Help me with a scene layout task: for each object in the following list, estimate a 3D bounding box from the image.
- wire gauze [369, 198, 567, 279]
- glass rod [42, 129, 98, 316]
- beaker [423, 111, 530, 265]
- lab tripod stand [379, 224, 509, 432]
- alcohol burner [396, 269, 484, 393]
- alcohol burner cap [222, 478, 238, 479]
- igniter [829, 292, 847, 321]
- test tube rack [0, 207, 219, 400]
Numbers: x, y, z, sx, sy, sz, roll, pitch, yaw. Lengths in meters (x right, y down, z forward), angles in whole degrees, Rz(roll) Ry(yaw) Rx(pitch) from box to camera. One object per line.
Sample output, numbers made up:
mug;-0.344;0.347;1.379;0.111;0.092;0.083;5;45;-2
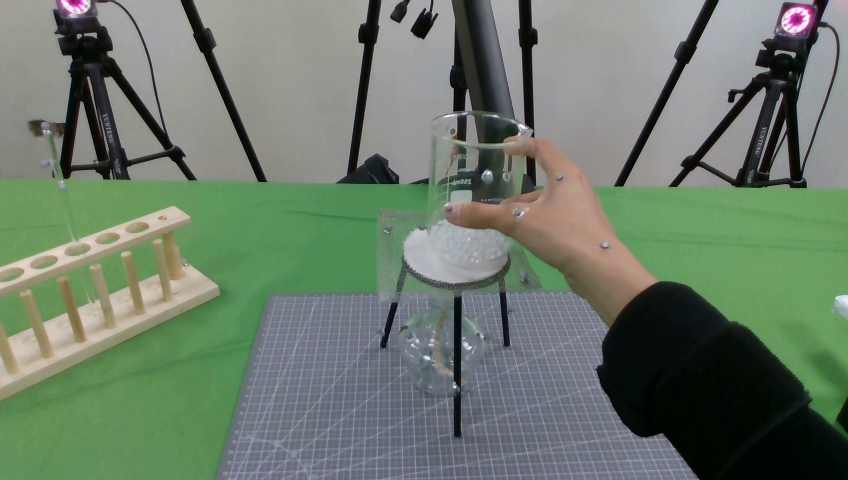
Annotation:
wire gauze;0.031;-0.003;0.477;0.125;0.011;0.120;-5;28;-26
glass rod;-0.317;-0.007;0.546;0.008;0.201;0.008;5;34;-3
beaker;0.038;-0.039;0.460;0.084;0.101;0.073;-11;33;-23
lab tripod stand;0.025;0.066;0.524;0.148;0.132;0.147;3;33;-2
alcohol burner;0.015;0.075;0.528;0.078;0.120;0.077;3;32;-1
alcohol burner cap;-0.133;0.183;0.413;0.034;0.048;0.033;3;33;-2
igniter;0.422;0.123;0.473;0.057;0.025;0.274;-2;29;-5
test tube rack;-0.325;0.056;0.571;0.066;0.086;0.242;27;40;34
